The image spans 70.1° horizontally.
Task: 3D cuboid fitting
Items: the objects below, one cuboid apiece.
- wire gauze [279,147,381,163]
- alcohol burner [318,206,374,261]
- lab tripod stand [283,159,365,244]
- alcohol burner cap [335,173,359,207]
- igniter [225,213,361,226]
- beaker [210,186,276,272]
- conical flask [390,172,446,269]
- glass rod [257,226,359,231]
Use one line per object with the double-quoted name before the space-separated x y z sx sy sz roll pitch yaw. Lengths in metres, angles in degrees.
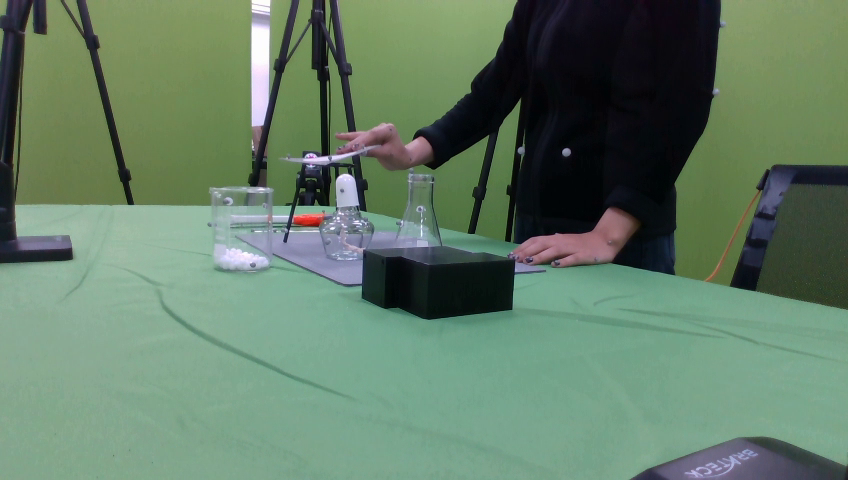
"wire gauze" -0.150 -0.135 0.970 0.124 0.011 0.122 5 17 43
"alcohol burner" -0.107 -0.032 0.833 0.078 0.119 0.078 1 6 0
"lab tripod stand" -0.151 -0.063 0.983 0.148 0.131 0.148 4 7 0
"alcohol burner cap" -0.108 -0.068 0.829 0.034 0.048 0.034 -7 4 1
"igniter" -0.257 -0.042 1.221 0.278 0.025 0.057 -2 -2 -32
"beaker" -0.224 -0.014 0.738 0.084 0.100 0.074 4 7 16
"conical flask" -0.006 -0.027 0.790 0.075 0.122 0.075 2 7 0
"glass rod" -0.216 -0.022 1.152 0.201 0.008 0.008 -2 8 -28
